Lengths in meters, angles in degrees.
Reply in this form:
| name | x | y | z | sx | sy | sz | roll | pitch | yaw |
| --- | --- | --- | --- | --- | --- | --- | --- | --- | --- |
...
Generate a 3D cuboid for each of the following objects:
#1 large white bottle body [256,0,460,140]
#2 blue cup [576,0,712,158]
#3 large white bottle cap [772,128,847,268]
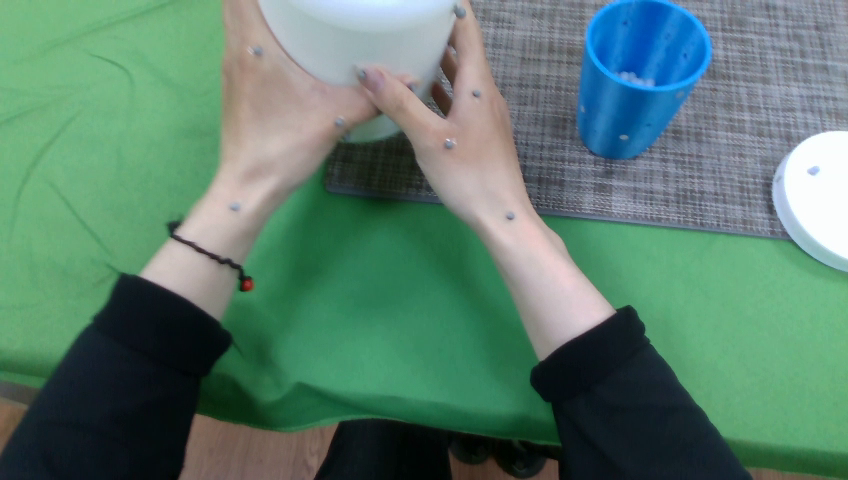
| name | x | y | z | sx | sy | sz | roll | pitch | yaw |
| --- | --- | --- | --- | --- | --- | --- | --- | --- | --- |
| large white bottle body | -0.043 | -0.162 | 0.395 | 0.131 | 0.185 | 0.130 | 3 | 71 | -10 |
| blue cup | 0.154 | -0.114 | 0.456 | 0.092 | 0.101 | 0.092 | -1 | 63 | 2 |
| large white bottle cap | 0.327 | -0.033 | 0.463 | 0.115 | 0.018 | 0.114 | 1 | 68 | -1 |
